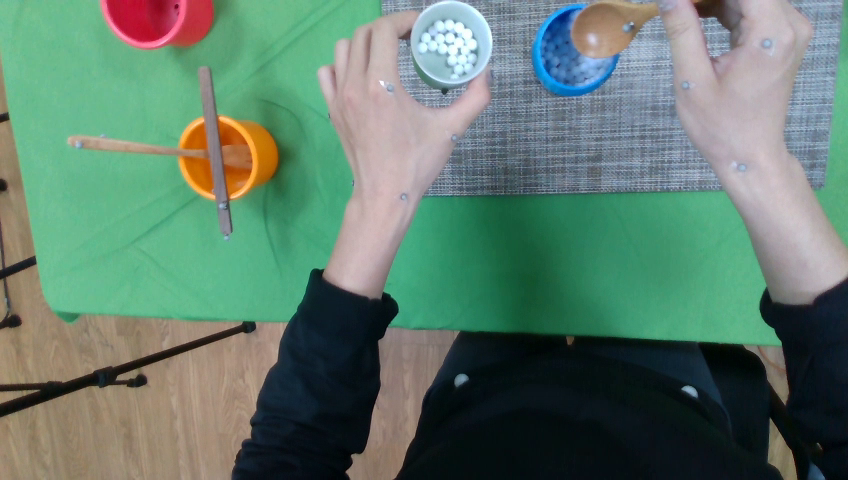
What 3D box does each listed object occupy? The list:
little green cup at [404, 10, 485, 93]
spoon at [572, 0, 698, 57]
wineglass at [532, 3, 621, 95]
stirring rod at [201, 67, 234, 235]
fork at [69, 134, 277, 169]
[{"bbox_3d":[0.017,-0.148,0.476,0.061,0.038,0.062,1,109,2],"label":"little green cup"},{"bbox_3d":[0.153,-0.148,0.374,0.021,0.192,0.042,-39,105,-11],"label":"spoon"},{"bbox_3d":[0.133,-0.167,0.547,0.073,0.172,0.074,2,103,10],"label":"wineglass"},{"bbox_3d":[-0.218,-0.092,0.641,0.014,0.006,0.177,0,103,11],"label":"stirring rod"},{"bbox_3d":[-0.260,-0.095,0.649,0.209,0.018,0.028,1,115,-35],"label":"fork"}]
